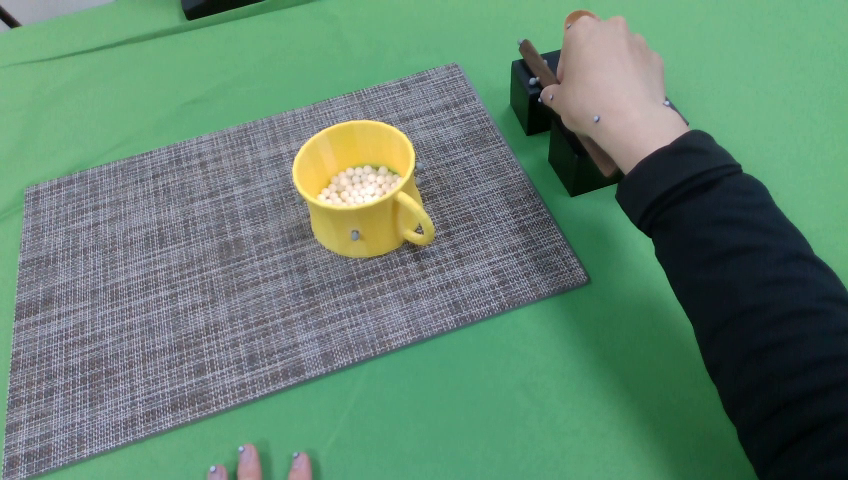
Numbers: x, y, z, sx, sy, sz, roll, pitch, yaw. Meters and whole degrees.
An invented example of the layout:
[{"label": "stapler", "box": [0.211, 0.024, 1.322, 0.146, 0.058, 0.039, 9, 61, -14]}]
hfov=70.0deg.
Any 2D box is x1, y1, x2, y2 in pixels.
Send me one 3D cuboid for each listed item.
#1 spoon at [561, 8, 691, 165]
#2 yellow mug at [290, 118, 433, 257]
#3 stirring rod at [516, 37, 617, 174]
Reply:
[{"label": "spoon", "box": [0.172, -0.137, 0.523, 0.041, 0.022, 0.191, -18, 56, -7]}, {"label": "yellow mug", "box": [-0.043, -0.037, 0.502, 0.130, 0.064, 0.100, 32, 63, 25]}, {"label": "stirring rod", "box": [0.117, -0.120, 0.517, 0.006, 0.014, 0.174, 10, 44, -38]}]
